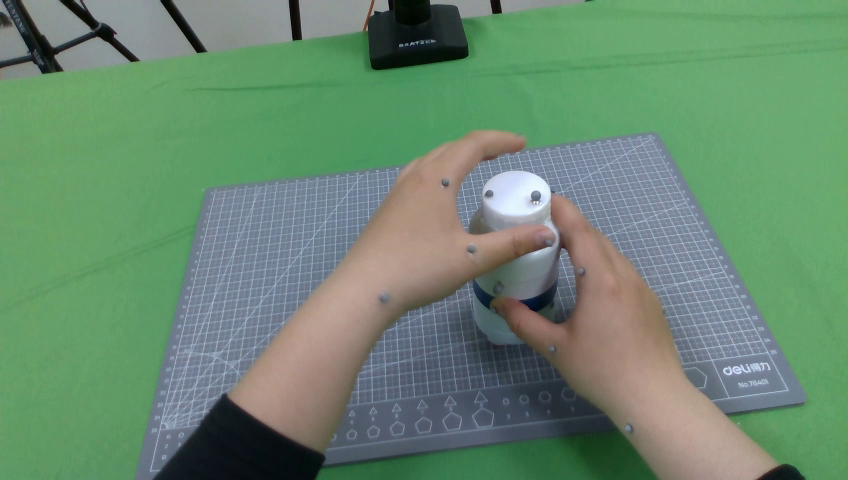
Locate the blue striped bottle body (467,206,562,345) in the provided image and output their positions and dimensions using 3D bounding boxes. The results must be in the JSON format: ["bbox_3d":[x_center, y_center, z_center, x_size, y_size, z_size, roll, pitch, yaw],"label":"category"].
[{"bbox_3d":[0.063,0.015,0.424,0.063,0.122,0.062,-4,47,4],"label":"blue striped bottle body"}]

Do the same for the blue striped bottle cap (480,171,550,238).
[{"bbox_3d":[0.058,-0.023,0.383,0.044,0.021,0.044,-2,49,3],"label":"blue striped bottle cap"}]
